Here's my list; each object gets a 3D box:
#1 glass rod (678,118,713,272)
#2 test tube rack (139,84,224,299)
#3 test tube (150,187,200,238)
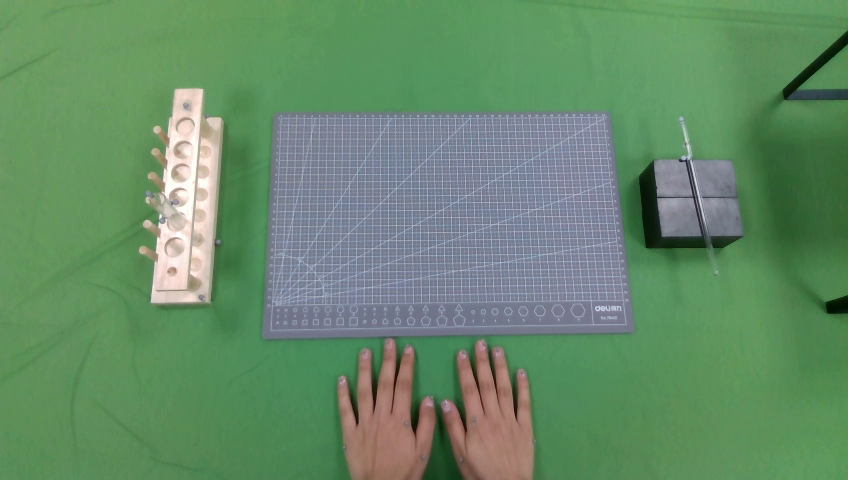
[{"bbox_3d":[0.330,-0.058,0.737,0.008,0.008,0.198,-4,75,-3],"label":"glass rod"},{"bbox_3d":[-0.292,-0.057,0.723,0.067,0.085,0.241,-1,75,-2],"label":"test tube rack"},{"bbox_3d":[-0.270,-0.027,0.664,0.017,0.150,0.017,2,75,-7],"label":"test tube"}]
